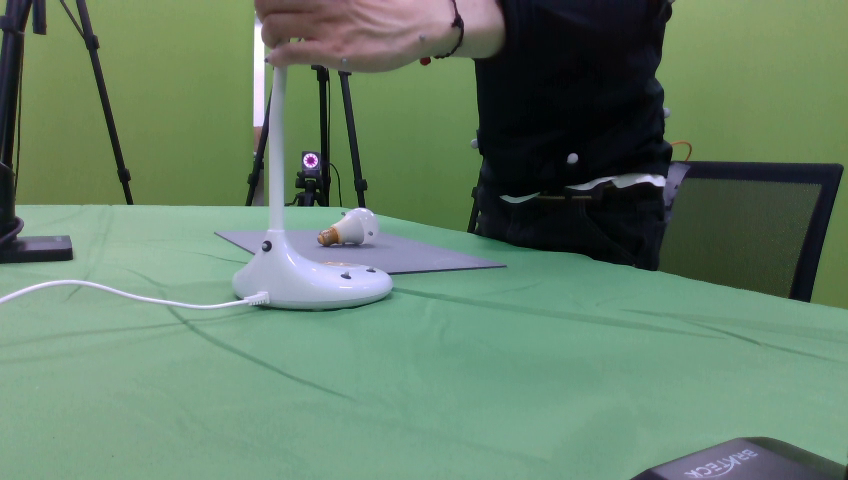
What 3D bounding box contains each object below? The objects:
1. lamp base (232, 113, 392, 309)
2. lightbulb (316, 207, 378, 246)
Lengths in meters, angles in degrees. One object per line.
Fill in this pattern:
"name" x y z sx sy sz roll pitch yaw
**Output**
"lamp base" -0.114 -0.032 0.595 0.160 0.180 0.179 4 10 16
"lightbulb" -0.123 -0.016 0.967 0.108 0.059 0.059 -21 20 -33
